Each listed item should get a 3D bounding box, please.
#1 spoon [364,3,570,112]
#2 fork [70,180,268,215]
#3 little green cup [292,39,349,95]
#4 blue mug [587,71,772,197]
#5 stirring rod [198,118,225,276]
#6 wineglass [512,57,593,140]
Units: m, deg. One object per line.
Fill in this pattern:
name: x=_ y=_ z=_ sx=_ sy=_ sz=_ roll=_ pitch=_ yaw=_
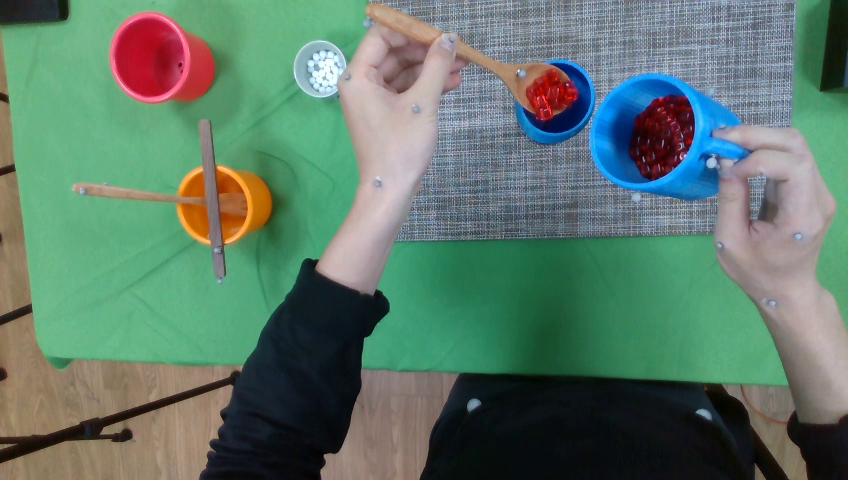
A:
spoon: x=0.041 y=-0.142 z=0.466 sx=0.195 sy=0.021 sz=0.042 roll=12 pitch=113 yaw=-36
fork: x=-0.278 y=-0.049 z=0.682 sx=0.209 sy=0.018 sz=0.028 roll=4 pitch=109 yaw=-36
little green cup: x=-0.115 y=-0.194 z=0.692 sx=0.061 sy=0.038 sz=0.061 roll=1 pitch=99 yaw=9
blue mug: x=0.199 y=-0.073 z=0.456 sx=0.115 sy=0.106 sz=0.082 roll=24 pitch=105 yaw=40
stirring rod: x=-0.236 y=-0.047 z=0.674 sx=0.014 sy=0.006 sz=0.176 roll=-1 pitch=98 yaw=10
wineglass: x=0.123 y=-0.132 z=0.592 sx=0.073 sy=0.172 sz=0.074 roll=1 pitch=98 yaw=9
